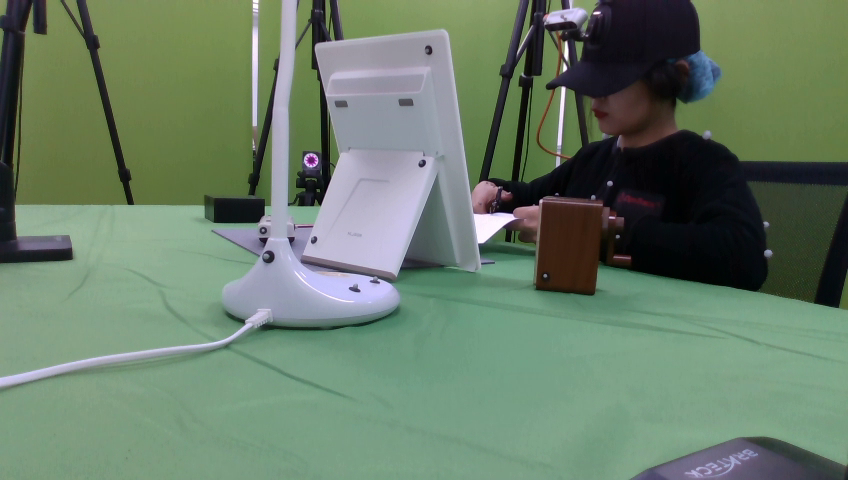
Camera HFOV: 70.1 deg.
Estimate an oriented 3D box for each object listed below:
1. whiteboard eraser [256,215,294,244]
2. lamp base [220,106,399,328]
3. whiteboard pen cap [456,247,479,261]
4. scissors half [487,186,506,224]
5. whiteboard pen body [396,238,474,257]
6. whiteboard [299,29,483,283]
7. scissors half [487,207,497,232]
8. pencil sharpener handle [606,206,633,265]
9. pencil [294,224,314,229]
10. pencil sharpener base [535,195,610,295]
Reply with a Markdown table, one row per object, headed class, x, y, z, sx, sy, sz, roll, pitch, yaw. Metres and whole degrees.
| class | x | y | z | sx | sy | sz | roll | pitch | yaw |
| --- | --- | --- | --- | --- | --- | --- | --- | --- | --- |
| whiteboard eraser | -0.232 | -0.016 | 0.951 | 0.056 | 0.042 | 0.112 | 2 | 7 | -12 |
| lamp base | -0.101 | -0.023 | 0.531 | 0.160 | 0.180 | 0.179 | 4 | 10 | 10 |
| whiteboard pen cap | 0.060 | 0.020 | 0.851 | 0.033 | 0.018 | 0.018 | 10 | 10 | 37 |
| scissors half | 0.137 | -0.066 | 1.155 | 0.013 | 0.040 | 0.175 | 16 | 29 | 10 |
| whiteboard pen body | 0.014 | 0.012 | 0.886 | 0.140 | 0.017 | 0.017 | 9 | 10 | 38 |
| whiteboard | -0.074 | -0.082 | 0.742 | 0.216 | 0.305 | 0.144 | 9 | 30 | 38 |
| scissors half | 0.130 | -0.043 | 1.159 | 0.013 | 0.040 | 0.175 | 20 | -7 | 9 |
| pencil sharpener handle | 0.223 | -0.004 | 0.683 | 0.030 | 0.068 | 0.036 | 5 | 21 | 16 |
| pencil | -0.220 | -0.028 | 1.210 | 0.195 | 0.012 | 0.012 | -5 | 10 | -34 |
| pencil sharpener base | 0.172 | 0.005 | 0.695 | 0.076 | 0.107 | 0.061 | 5 | 7 | 16 |
